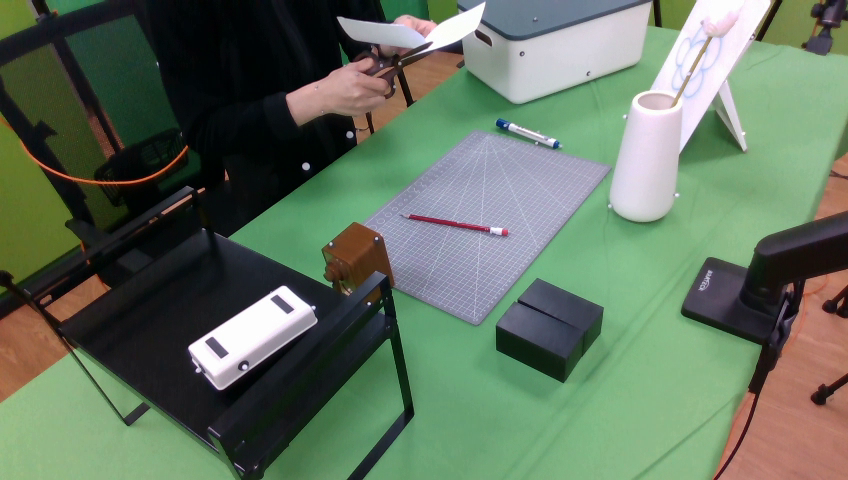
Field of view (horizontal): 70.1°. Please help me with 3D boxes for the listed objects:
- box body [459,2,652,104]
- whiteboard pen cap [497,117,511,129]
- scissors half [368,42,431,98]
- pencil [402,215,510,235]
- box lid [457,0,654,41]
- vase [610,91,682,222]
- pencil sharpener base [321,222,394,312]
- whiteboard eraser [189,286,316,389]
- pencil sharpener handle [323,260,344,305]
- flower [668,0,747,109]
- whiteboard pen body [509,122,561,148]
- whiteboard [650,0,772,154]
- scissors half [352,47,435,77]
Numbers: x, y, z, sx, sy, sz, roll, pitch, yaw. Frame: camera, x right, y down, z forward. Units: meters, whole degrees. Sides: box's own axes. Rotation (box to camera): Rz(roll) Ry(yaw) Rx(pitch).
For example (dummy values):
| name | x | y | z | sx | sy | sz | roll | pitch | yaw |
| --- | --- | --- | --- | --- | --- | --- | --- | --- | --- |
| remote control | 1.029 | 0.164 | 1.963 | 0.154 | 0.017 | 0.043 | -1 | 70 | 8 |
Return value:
| name | x | y | z | sx | sy | sz | roll | pitch | yaw |
| --- | --- | --- | --- | --- | --- | --- | --- | --- | --- |
| box body | 0.291 | -0.465 | 1.371 | 0.365 | 0.161 | 0.252 | -22 | 42 | -16 |
| whiteboard pen cap | 0.165 | -0.235 | 1.226 | 0.033 | 0.018 | 0.018 | 31 | 53 | 31 |
| scissors half | -0.036 | -0.259 | 0.922 | 0.013 | 0.040 | 0.174 | -55 | 16 | -29 |
| pencil | 0.049 | -0.027 | 1.007 | 0.193 | 0.012 | 0.012 | 10 | 43 | 21 |
| box lid | 0.285 | -0.522 | 1.323 | 0.373 | 0.015 | 0.261 | -22 | 43 | -16 |
| vase | 0.348 | -0.125 | 0.935 | 0.098 | 0.201 | 0.097 | -3 | 40 | 3 |
| pencil sharpener base | -0.096 | 0.041 | 0.873 | 0.061 | 0.107 | 0.077 | 26 | 54 | 32 |
| whiteboard eraser | -0.166 | 0.096 | 0.593 | 0.113 | 0.042 | 0.055 | -36 | 47 | -29 |
| pencil sharpener handle | -0.131 | 0.062 | 0.839 | 0.035 | 0.068 | 0.031 | 29 | 55 | 28 |
| flower | 0.354 | -0.187 | 0.879 | 0.038 | 0.362 | 0.044 | 30 | 48 | 14 |
| whiteboard pen body | 0.209 | -0.212 | 1.195 | 0.139 | 0.017 | 0.017 | 30 | 53 | 33 |
| whiteboard | 0.543 | -0.298 | 1.076 | 0.144 | 0.305 | 0.216 | 12 | 40 | -7 |
| scissors half | -0.050 | -0.274 | 0.913 | 0.174 | 0.040 | 0.013 | 4 | 53 | 41 |
